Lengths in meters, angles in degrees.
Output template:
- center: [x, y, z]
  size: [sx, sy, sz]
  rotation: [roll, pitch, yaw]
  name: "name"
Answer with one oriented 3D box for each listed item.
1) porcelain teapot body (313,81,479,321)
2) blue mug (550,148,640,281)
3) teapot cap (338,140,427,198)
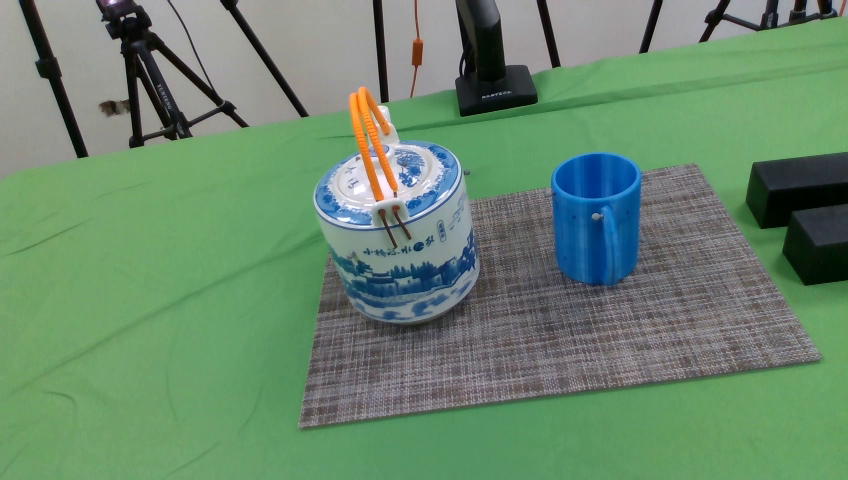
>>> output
- center: [-0.034, -0.056, 0.604]
  size: [0.145, 0.227, 0.203]
  rotation: [-14, 39, 1]
  name: "porcelain teapot body"
- center: [0.170, -0.015, 0.590]
  size: [0.082, 0.107, 0.115]
  rotation: [-9, 40, 6]
  name: "blue mug"
- center: [-0.039, -0.069, 0.557]
  size: [0.085, 0.044, 0.084]
  rotation: [-5, 38, 5]
  name: "teapot cap"
